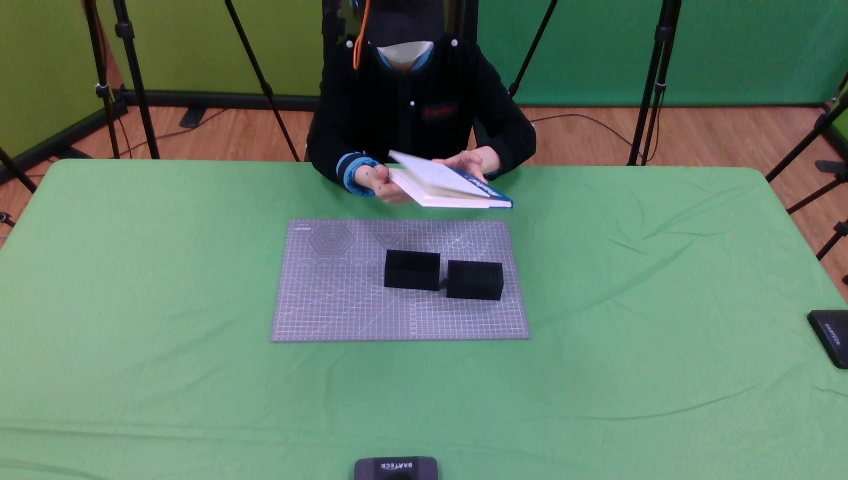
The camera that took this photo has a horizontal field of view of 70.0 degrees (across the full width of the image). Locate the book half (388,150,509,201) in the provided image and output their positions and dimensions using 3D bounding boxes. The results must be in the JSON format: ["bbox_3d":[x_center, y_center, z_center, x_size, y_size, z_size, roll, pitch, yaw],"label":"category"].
[{"bbox_3d":[0.033,-0.106,0.977,0.144,0.007,0.209,11,16,-23],"label":"book half"}]

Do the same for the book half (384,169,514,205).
[{"bbox_3d":[0.033,-0.090,0.986,0.149,0.016,0.209,-2,19,-19],"label":"book half"}]
